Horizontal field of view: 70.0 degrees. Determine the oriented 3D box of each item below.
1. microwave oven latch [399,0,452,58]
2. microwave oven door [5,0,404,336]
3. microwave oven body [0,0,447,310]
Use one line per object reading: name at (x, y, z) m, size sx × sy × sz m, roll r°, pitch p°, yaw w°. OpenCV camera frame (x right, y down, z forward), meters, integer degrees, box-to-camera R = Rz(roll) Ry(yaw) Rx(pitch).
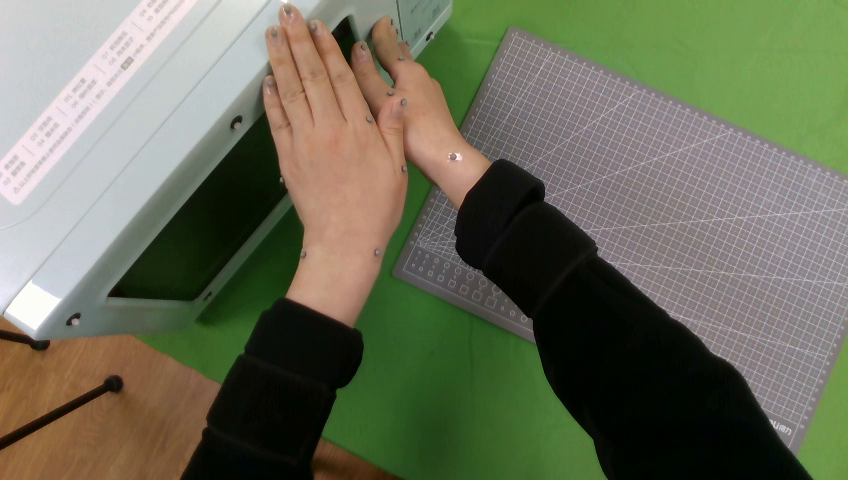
microwave oven latch at (-0.003, -0.228, 0.627) m, size 0.030 × 0.029 × 0.079 m, roll 41°, pitch 87°, yaw 4°
microwave oven door at (-0.148, -0.071, 0.512) m, size 0.039 × 0.244 × 0.355 m, roll 39°, pitch 86°, yaw 5°
microwave oven body at (-0.233, -0.195, 0.530) m, size 0.325 × 0.260 × 0.441 m, roll 39°, pitch 87°, yaw 4°
